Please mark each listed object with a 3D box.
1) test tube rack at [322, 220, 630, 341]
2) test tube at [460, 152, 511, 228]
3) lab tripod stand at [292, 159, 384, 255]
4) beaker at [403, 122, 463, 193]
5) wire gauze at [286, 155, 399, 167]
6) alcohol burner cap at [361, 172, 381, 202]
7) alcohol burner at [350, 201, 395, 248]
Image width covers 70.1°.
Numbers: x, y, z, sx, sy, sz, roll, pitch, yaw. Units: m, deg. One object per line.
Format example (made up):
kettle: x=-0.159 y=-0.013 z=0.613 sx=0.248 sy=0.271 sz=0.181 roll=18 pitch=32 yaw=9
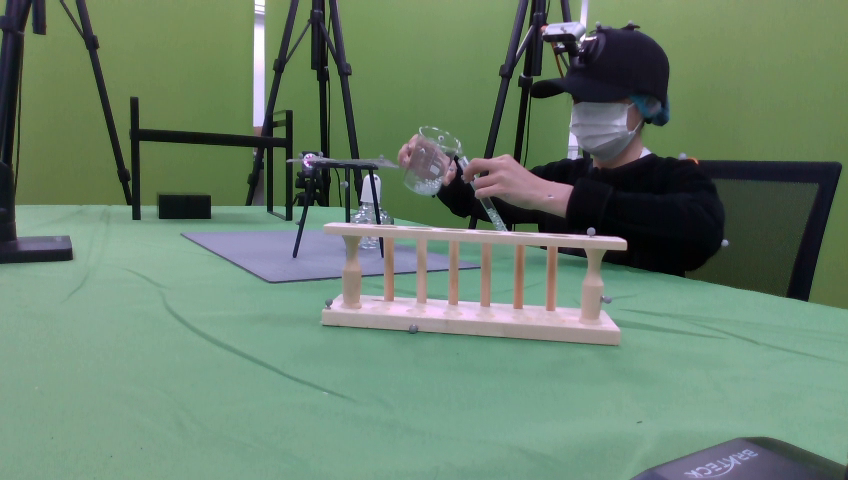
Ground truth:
test tube rack: x=0.041 y=0.029 z=0.512 sx=0.242 sy=0.085 sz=0.067 roll=3 pitch=7 yaw=5
test tube: x=0.097 y=-0.073 z=0.954 sx=0.017 sy=0.150 sz=0.017 roll=-28 pitch=-9 yaw=-5
lab tripod stand: x=-0.105 y=-0.039 z=0.797 sx=0.148 sy=0.131 sz=0.148 roll=2 pitch=5 yaw=0
beaker: x=0.013 y=-0.135 z=1.019 sx=0.084 sy=0.100 sz=0.074 roll=28 pitch=30 yaw=7
wire gauze: x=-0.101 y=-0.105 z=0.788 sx=0.121 sy=0.011 sz=0.125 roll=4 pitch=6 yaw=6
alcohol burner cap: x=-0.081 y=-0.084 z=0.949 sx=0.034 sy=0.048 sz=0.034 roll=7 pitch=7 yaw=-1
alcohol burner: x=-0.084 y=-0.048 z=0.953 sx=0.078 sy=0.119 sz=0.078 roll=1 pitch=6 yaw=0
